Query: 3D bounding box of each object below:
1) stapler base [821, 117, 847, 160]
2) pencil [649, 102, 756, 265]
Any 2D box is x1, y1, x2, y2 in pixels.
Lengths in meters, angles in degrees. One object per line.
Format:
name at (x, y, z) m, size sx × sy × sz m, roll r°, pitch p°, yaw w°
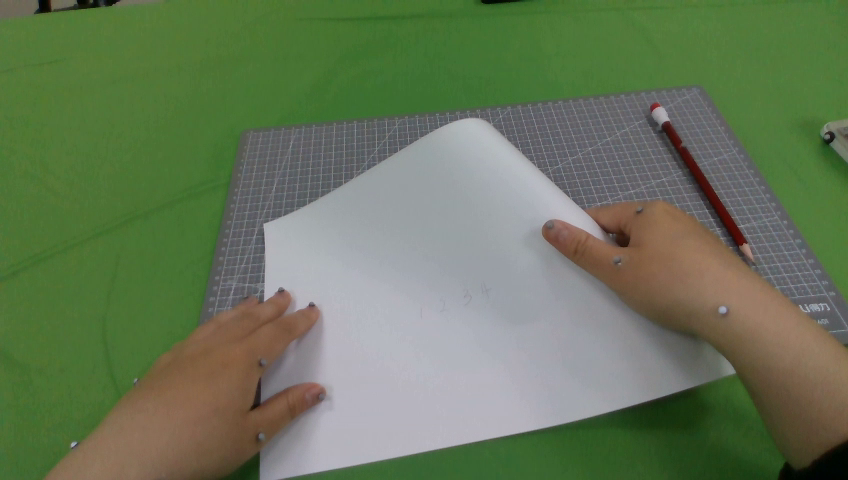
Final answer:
stapler base at (0.378, -0.064, 0.491) m, size 0.041 × 0.025 × 0.129 m, roll -11°, pitch 49°, yaw -2°
pencil at (0.226, -0.053, 0.500) m, size 0.012 × 0.012 × 0.192 m, roll -9°, pitch 50°, yaw -3°
